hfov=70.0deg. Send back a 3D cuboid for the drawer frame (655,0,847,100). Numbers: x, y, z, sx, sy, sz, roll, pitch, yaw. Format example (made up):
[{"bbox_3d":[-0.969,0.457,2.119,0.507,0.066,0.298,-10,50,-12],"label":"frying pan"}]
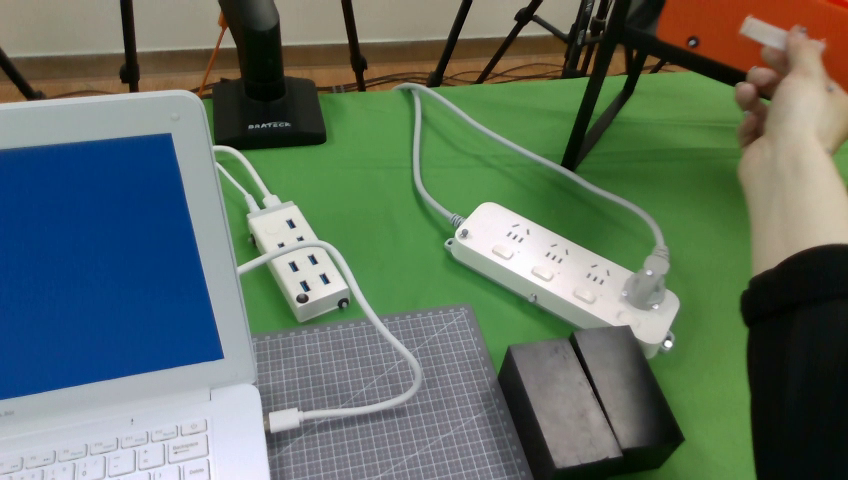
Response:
[{"bbox_3d":[0.348,-0.231,0.558,0.200,0.083,0.213,28,49,18],"label":"drawer frame"}]

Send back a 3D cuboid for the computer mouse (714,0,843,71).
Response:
[{"bbox_3d":[0.317,-0.194,0.539,0.063,0.041,0.116,-11,55,-21],"label":"computer mouse"}]

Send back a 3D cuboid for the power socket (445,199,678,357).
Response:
[{"bbox_3d":[0.128,0.031,0.567,0.225,0.033,0.072,29,50,19],"label":"power socket"}]

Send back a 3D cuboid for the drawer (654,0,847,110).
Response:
[{"bbox_3d":[0.339,-0.218,0.547,0.193,0.074,0.211,28,49,18],"label":"drawer"}]

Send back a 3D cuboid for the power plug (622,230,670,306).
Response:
[{"bbox_3d":[0.207,0.033,0.545,0.035,0.053,0.072,38,55,26],"label":"power plug"}]

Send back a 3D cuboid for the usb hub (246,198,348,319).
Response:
[{"bbox_3d":[-0.119,0.014,0.555,0.049,0.025,0.124,-21,53,-24],"label":"usb hub"}]

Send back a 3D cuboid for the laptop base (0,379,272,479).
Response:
[{"bbox_3d":[-0.263,0.219,0.351,0.355,0.023,0.233,-9,53,-15],"label":"laptop base"}]

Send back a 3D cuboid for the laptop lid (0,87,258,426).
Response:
[{"bbox_3d":[-0.293,0.036,0.357,0.357,0.244,0.013,-10,36,-14],"label":"laptop lid"}]
